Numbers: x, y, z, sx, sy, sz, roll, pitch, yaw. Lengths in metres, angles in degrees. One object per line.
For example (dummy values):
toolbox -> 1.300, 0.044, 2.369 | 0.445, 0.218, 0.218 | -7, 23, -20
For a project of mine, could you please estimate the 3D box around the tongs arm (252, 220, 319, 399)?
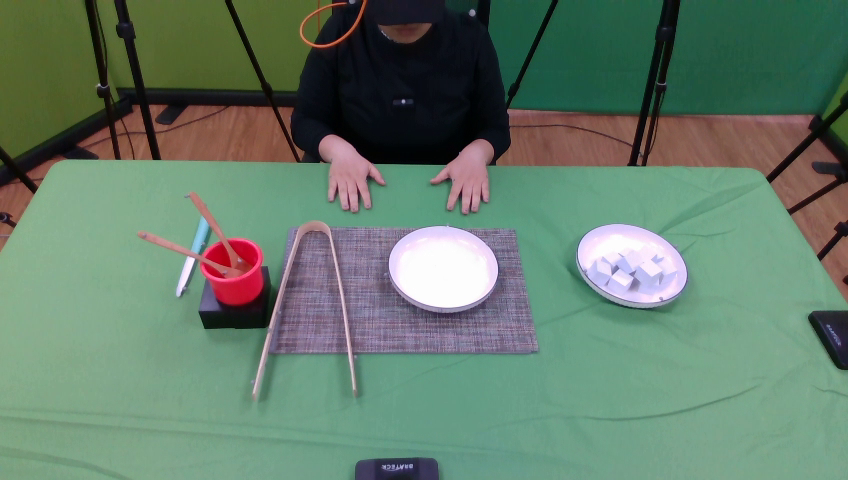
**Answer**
tongs arm -> -0.236, 0.105, 1.067 | 0.051, 0.026, 0.382 | 1, 46, 0

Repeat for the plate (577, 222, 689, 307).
plate -> 0.396, 0.050, 1.165 | 0.209, 0.038, 0.208 | 2, 47, -2

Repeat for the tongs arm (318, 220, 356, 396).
tongs arm -> -0.154, 0.103, 1.075 | 0.028, 0.028, 0.385 | -11, 47, -7

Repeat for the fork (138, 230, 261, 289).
fork -> -0.359, 0.032, 0.981 | 0.208, 0.018, 0.028 | 31, 60, -30

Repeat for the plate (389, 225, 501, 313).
plate -> 0.038, 0.057, 1.129 | 0.208, 0.039, 0.206 | 2, 46, -2

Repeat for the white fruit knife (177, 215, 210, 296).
white fruit knife -> -0.434, 0.025, 1.148 | 0.027, 0.016, 0.206 | -18, 45, 19

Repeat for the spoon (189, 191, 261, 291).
spoon -> -0.333, 0.001, 1.012 | 0.041, 0.194, 0.021 | -34, 15, -25
